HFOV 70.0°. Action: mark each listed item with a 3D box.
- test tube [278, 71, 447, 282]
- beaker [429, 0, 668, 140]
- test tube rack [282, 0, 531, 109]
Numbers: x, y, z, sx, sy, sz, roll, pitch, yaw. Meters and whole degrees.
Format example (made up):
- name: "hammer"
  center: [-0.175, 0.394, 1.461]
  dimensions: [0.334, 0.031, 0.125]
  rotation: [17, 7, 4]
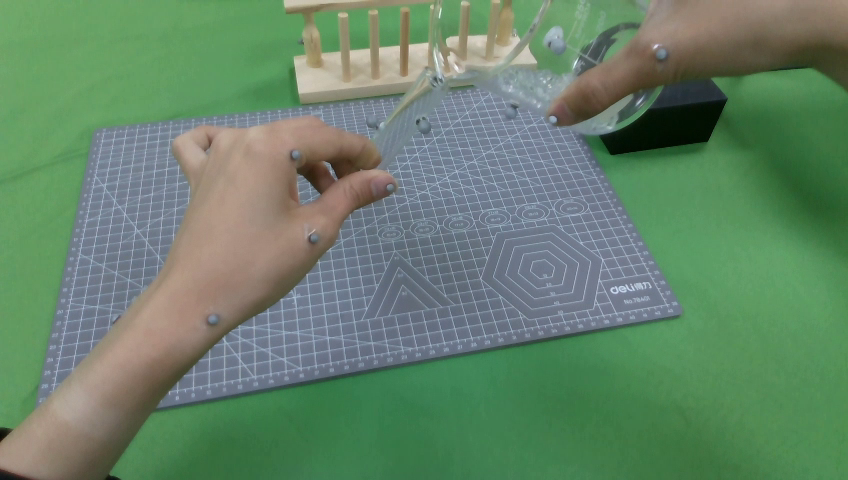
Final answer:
- name: "test tube"
  center: [-0.038, -0.027, 0.319]
  dimensions: [0.017, 0.150, 0.017]
  rotation: [30, 32, -21]
- name: "beaker"
  center: [0.062, -0.092, 0.293]
  dimensions: [0.101, 0.084, 0.073]
  rotation: [13, 37, -39]
- name: "test tube rack"
  center: [-0.012, -0.200, 0.610]
  dimensions: [0.243, 0.086, 0.066]
  rotation: [-9, 50, -9]
